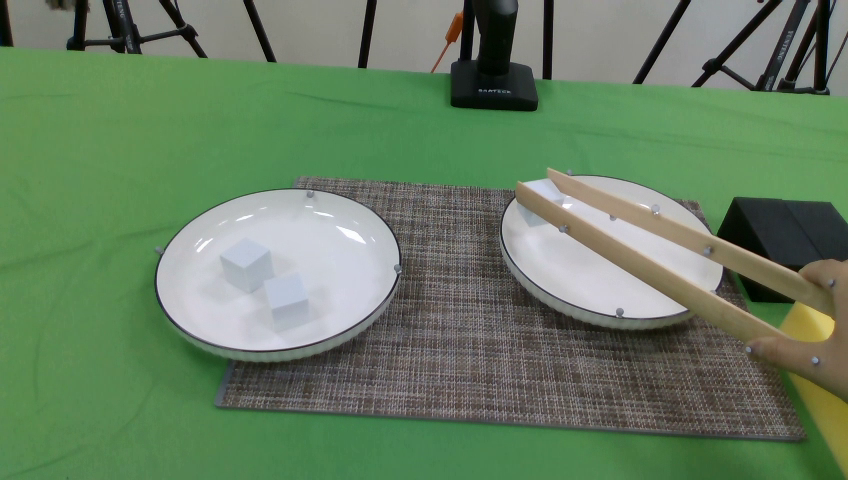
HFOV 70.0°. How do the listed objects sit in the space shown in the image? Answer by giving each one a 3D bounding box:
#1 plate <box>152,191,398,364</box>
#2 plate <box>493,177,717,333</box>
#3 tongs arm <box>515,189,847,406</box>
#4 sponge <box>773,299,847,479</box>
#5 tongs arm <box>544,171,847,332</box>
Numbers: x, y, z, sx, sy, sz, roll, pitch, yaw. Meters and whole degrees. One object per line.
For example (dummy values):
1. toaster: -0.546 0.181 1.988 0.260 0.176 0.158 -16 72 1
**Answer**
1. plate: -0.127 0.031 0.540 0.209 0.038 0.207 3 41 -2
2. plate: 0.169 0.014 0.585 0.208 0.039 0.205 3 41 -2
3. tongs arm: 0.203 0.043 0.440 0.028 0.028 0.383 -30 42 -25
4. sponge: 0.364 0.139 0.446 0.118 0.061 0.204 1 42 -3
5. tongs arm: 0.224 0.029 0.449 0.051 0.027 0.381 -35 44 -25
